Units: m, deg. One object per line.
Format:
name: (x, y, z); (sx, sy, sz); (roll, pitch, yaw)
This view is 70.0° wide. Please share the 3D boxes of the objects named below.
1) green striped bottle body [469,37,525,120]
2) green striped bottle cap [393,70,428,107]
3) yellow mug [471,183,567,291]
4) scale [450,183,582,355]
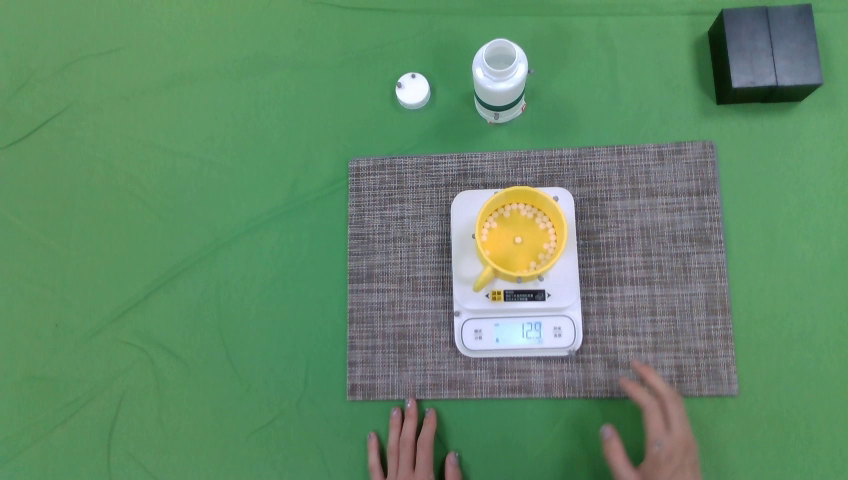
green striped bottle body: (0.086, -0.193, 0.715); (0.063, 0.120, 0.063); (-1, 80, 6)
green striped bottle cap: (-0.018, -0.195, 0.780); (0.044, 0.020, 0.044); (-1, 84, 5)
yellow mug: (0.095, 0.005, 0.674); (0.099, 0.064, 0.131); (38, 86, 10)
scale: (0.107, 0.033, 0.716); (0.148, 0.032, 0.200); (-3, 81, 6)
